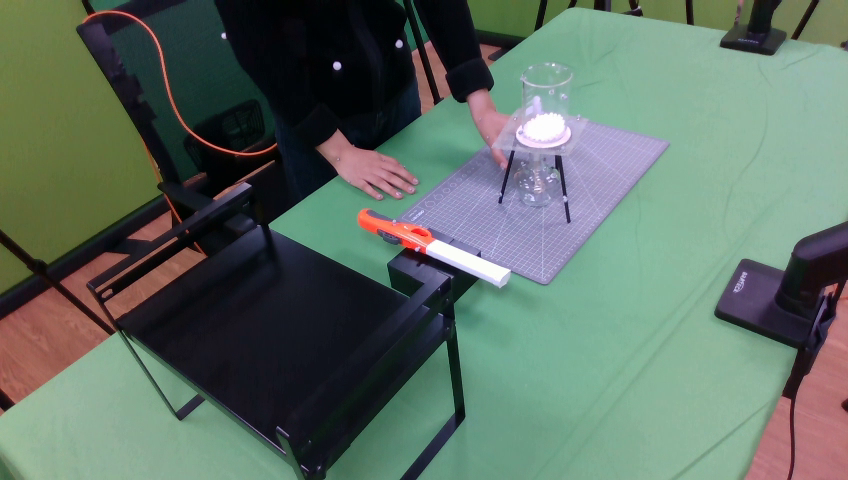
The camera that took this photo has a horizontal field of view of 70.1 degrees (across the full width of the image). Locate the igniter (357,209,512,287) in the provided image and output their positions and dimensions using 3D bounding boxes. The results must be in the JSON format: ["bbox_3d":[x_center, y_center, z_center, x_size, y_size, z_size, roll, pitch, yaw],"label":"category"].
[{"bbox_3d":[0.004,0.006,0.891,0.274,0.025,0.057,23,37,30],"label":"igniter"}]

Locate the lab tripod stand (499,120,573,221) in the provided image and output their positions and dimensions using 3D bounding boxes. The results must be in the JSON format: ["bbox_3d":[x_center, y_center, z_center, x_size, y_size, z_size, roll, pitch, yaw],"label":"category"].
[{"bbox_3d":[0.198,-0.116,0.991,0.148,0.132,0.147,-3,41,3],"label":"lab tripod stand"}]

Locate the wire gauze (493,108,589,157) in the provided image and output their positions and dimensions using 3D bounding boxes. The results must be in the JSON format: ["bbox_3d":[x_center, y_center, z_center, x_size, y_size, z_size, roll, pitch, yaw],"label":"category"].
[{"bbox_3d":[0.185,-0.169,0.953,0.121,0.011,0.125,13,46,22],"label":"wire gauze"}]

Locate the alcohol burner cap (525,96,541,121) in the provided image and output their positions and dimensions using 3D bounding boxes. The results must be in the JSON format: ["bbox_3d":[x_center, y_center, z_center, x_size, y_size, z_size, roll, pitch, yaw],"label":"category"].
[{"bbox_3d":[0.225,-0.273,1.243,0.034,0.048,0.033,-3,41,3],"label":"alcohol burner cap"}]

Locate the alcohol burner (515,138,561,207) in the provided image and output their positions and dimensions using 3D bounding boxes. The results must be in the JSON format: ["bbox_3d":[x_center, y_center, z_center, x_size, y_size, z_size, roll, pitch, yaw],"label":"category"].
[{"bbox_3d":[0.189,-0.116,1.008,0.078,0.119,0.077,-6,39,6],"label":"alcohol burner"}]

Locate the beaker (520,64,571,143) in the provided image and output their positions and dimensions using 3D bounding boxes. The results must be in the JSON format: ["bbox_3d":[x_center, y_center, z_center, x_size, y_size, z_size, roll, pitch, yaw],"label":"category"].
[{"bbox_3d":[0.187,-0.208,0.924,0.073,0.101,0.084,23,49,30],"label":"beaker"}]
